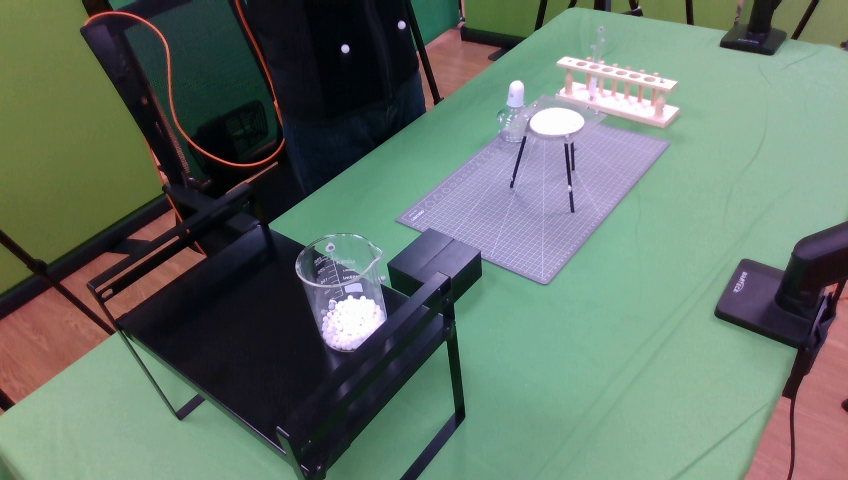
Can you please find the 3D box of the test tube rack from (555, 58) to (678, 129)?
[{"bbox_3d":[0.390,-0.307,1.229,0.240,0.085,0.067,26,50,33],"label":"test tube rack"}]

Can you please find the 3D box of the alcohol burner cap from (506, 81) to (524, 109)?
[{"bbox_3d":[0.174,-0.277,1.144,0.034,0.048,0.033,0,39,1],"label":"alcohol burner cap"}]

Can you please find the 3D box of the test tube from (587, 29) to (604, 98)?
[{"bbox_3d":[0.342,-0.349,1.209,0.017,0.151,0.017,-3,46,4],"label":"test tube"}]

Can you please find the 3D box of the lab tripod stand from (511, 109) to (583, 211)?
[{"bbox_3d":[0.220,-0.138,1.014,0.148,0.132,0.147,-3,41,3],"label":"lab tripod stand"}]

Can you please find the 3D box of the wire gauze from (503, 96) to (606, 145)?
[{"bbox_3d":[0.211,-0.192,0.975,0.120,0.011,0.125,24,49,32],"label":"wire gauze"}]

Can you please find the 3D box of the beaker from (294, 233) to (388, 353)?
[{"bbox_3d":[-0.073,0.053,0.585,0.084,0.101,0.073,-13,41,-6],"label":"beaker"}]

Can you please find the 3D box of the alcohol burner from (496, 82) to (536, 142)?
[{"bbox_3d":[0.178,-0.250,1.168,0.078,0.119,0.077,-5,42,5],"label":"alcohol burner"}]
